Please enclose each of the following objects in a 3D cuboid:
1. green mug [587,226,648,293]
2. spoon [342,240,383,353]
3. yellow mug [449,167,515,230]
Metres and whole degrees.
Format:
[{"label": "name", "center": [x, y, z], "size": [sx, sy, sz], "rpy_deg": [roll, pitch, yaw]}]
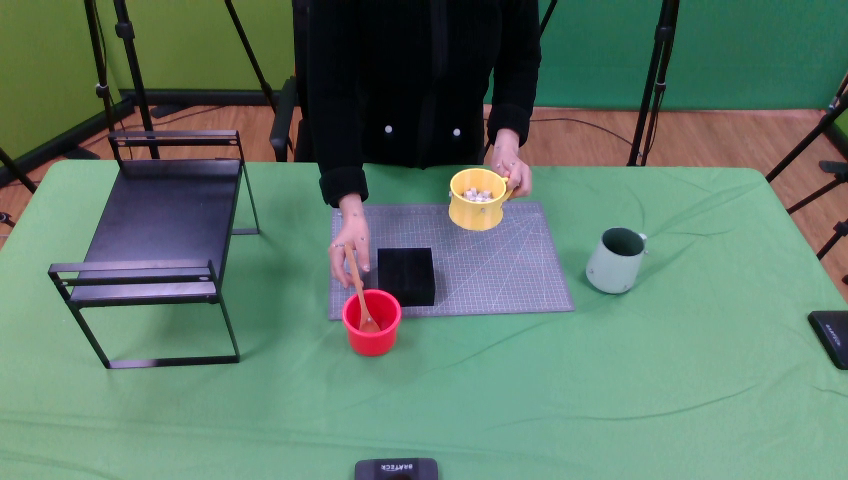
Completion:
[{"label": "green mug", "center": [0.372, 0.031, 1.136], "size": [0.125, 0.105, 0.092], "rpy_deg": [-27, 53, -26]}, {"label": "spoon", "center": [-0.106, 0.094, 1.014], "size": [0.042, 0.021, 0.193], "rpy_deg": [-14, 93, -14]}, {"label": "yellow mug", "center": [0.109, -0.080, 1.088], "size": [0.131, 0.064, 0.099], "rpy_deg": [-20, 48, -22]}]
